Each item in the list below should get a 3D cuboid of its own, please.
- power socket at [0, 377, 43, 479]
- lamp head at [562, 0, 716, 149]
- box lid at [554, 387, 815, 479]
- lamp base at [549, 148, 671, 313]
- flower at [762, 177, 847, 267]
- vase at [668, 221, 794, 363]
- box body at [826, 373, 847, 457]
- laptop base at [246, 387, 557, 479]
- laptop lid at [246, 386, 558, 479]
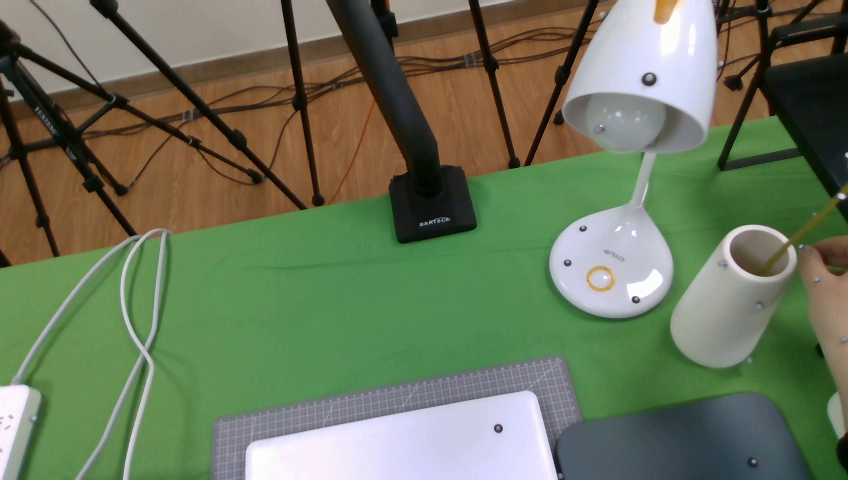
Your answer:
[{"bbox_3d":[-0.542,0.277,0.751,0.072,0.033,0.224,-5,56,3],"label":"power socket"},{"bbox_3d":[0.179,-0.145,0.484,0.112,0.113,0.122,16,78,17],"label":"lamp head"},{"bbox_3d":[0.301,0.339,0.614,0.263,0.015,0.367,-10,57,0],"label":"box lid"},{"bbox_3d":[0.246,-0.026,0.757,0.160,0.182,0.178,19,59,19],"label":"lamp base"},{"bbox_3d":[0.351,0.014,0.608,0.038,0.364,0.043,7,50,-7],"label":"flower"},{"bbox_3d":[0.339,0.061,0.677,0.098,0.202,0.097,-4,55,7],"label":"vase"},{"bbox_3d":[0.577,0.260,0.539,0.254,0.162,0.360,-8,56,3],"label":"box body"},{"bbox_3d":[-0.023,0.305,0.674,0.354,0.023,0.233,-10,60,1],"label":"laptop base"},{"bbox_3d":[-0.024,0.301,0.664,0.357,0.013,0.239,-9,59,2],"label":"laptop lid"}]
